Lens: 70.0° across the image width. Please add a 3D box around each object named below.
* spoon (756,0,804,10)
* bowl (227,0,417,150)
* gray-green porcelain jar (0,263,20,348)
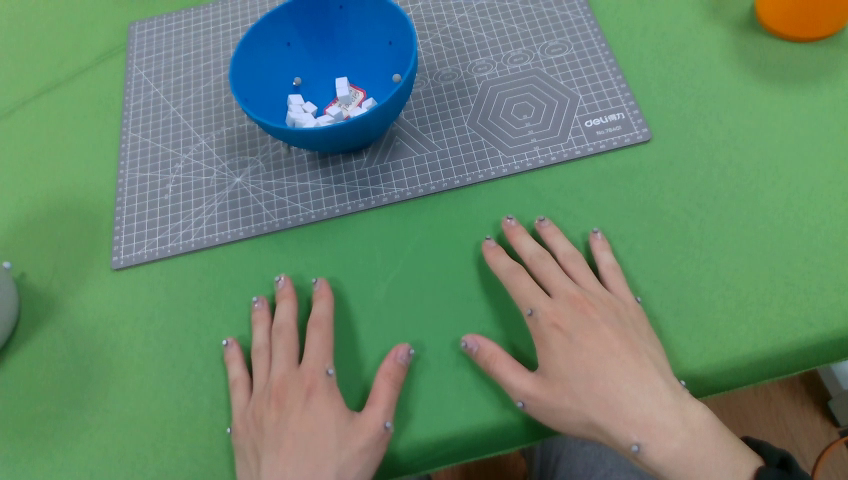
[{"bbox_3d":[0.352,-0.244,0.461,0.022,0.194,0.041,16,56,-34],"label":"spoon"},{"bbox_3d":[-0.075,-0.128,0.502,0.151,0.077,0.150,-4,61,7],"label":"bowl"},{"bbox_3d":[-0.374,0.039,0.434,0.106,0.127,0.105,-4,61,7],"label":"gray-green porcelain jar"}]
